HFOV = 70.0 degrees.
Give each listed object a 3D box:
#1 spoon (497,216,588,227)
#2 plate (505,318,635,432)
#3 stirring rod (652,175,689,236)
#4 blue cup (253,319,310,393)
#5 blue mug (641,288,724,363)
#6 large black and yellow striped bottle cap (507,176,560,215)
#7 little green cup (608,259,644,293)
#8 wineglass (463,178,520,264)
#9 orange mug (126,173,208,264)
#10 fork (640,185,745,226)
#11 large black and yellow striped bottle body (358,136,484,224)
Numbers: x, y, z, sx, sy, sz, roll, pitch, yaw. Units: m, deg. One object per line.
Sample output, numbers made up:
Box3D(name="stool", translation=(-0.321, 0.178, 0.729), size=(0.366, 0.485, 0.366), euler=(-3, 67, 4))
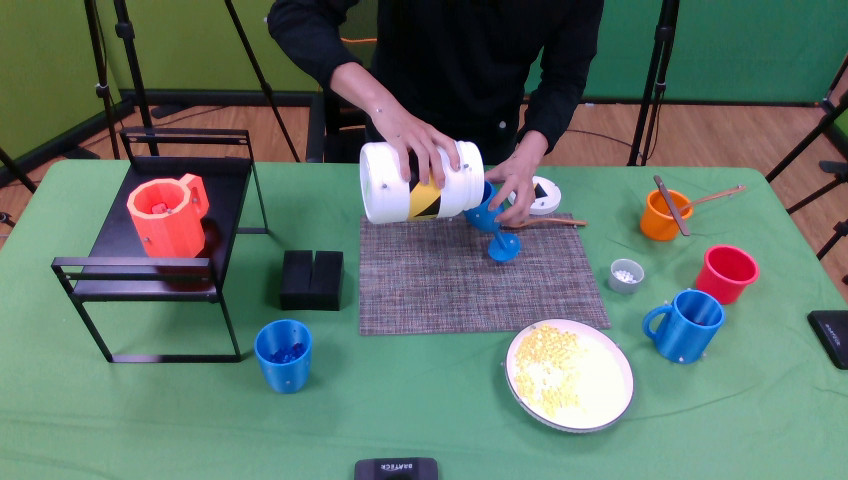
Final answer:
Box3D(name="spoon", translation=(0.246, -0.039, 1.247), size=(0.194, 0.022, 0.041), euler=(-1, 26, -6))
Box3D(name="plate", translation=(0.235, 0.221, 0.991), size=(0.209, 0.038, 0.208), euler=(2, 46, -2))
Box3D(name="stirring rod", translation=(0.491, -0.072, 1.211), size=(0.014, 0.006, 0.175), euler=(-1, 47, -6))
Box3D(name="blue cup", translation=(-0.217, 0.187, 0.943), size=(0.093, 0.101, 0.092), euler=(4, 45, -3))
Box3D(name="blue mug", translation=(0.432, 0.144, 1.033), size=(0.116, 0.106, 0.082), euler=(8, 46, 5))
Box3D(name="large black and yellow striped bottle cap", translation=(0.237, -0.098, 1.311), size=(0.115, 0.019, 0.114), euler=(2, 42, -2))
Box3D(name="little green cup", translation=(0.379, 0.070, 1.147), size=(0.061, 0.039, 0.061), euler=(3, 45, -3))
Box3D(name="wineglass", translation=(0.122, -0.034, 1.100), size=(0.073, 0.173, 0.073), euler=(-13, 52, 17))
Box3D(name="orange mug", translation=(-0.371, -0.040, 0.902), size=(0.083, 0.101, 0.126), euler=(18, 52, 13))
Box3D(name="fork", translation=(0.534, -0.069, 1.215), size=(0.207, 0.019, 0.028), euler=(-26, 27, 33))
Box3D(name="large black and yellow striped bottle body", translation=(-0.006, -0.099, 0.982), size=(0.184, 0.131, 0.130), euler=(-7, 47, -14))
